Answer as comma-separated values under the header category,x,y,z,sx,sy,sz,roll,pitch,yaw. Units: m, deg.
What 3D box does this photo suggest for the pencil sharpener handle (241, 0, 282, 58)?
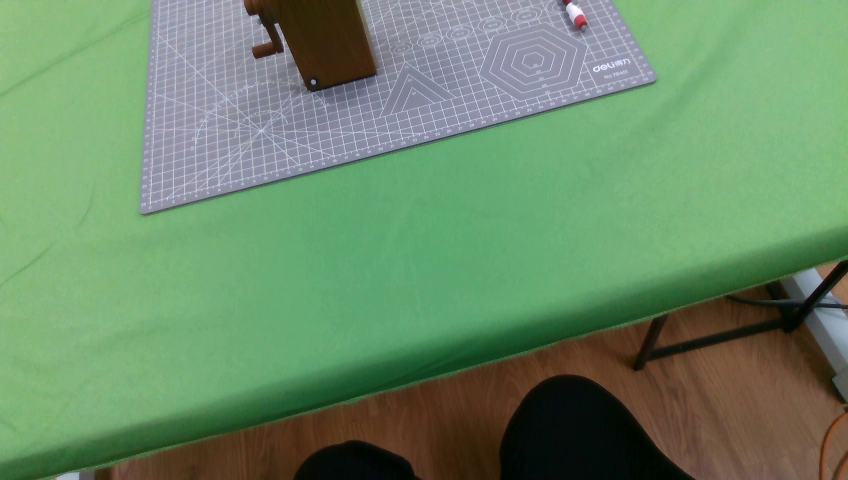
category,x,y,z,sx,sy,sz,roll,pitch,yaw
pencil sharpener handle,-0.144,-0.184,0.515,0.030,0.068,0.035,-17,58,0

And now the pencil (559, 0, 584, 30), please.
category,x,y,z,sx,sy,sz,roll,pitch,yaw
pencil,0.115,-0.268,0.595,0.012,0.012,0.192,-18,57,-1

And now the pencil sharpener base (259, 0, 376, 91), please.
category,x,y,z,sx,sy,sz,roll,pitch,yaw
pencil sharpener base,-0.093,-0.193,0.527,0.077,0.108,0.060,-17,58,0
